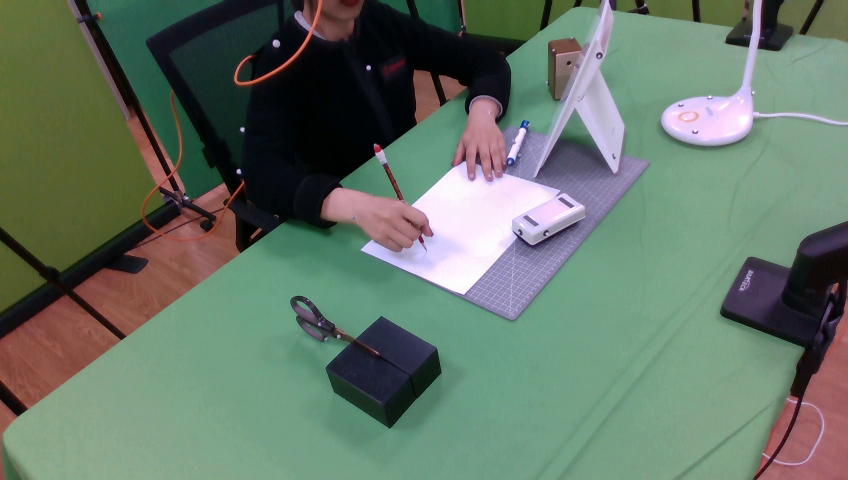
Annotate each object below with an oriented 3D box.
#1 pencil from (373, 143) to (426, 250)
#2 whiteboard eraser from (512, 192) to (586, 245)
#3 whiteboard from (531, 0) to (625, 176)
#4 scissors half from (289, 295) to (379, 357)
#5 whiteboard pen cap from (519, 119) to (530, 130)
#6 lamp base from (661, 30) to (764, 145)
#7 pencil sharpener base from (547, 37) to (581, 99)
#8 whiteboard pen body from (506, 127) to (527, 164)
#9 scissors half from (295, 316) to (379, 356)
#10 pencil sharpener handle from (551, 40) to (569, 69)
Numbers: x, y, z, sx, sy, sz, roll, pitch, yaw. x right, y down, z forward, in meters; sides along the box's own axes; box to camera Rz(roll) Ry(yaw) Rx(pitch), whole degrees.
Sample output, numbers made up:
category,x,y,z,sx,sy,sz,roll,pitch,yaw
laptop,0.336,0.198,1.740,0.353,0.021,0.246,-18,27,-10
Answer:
category,x,y,z,sx,sy,sz,roll,pitch,yaw
pencil,-0.034,-0.062,0.927,0.012,0.195,0.012,-19,28,11
whiteboard eraser,0.199,-0.032,0.962,0.113,0.042,0.055,-27,42,-20
whiteboard,0.320,-0.258,1.050,0.144,0.306,0.217,22,45,5
scissors half,-0.122,0.114,0.803,0.174,0.040,0.013,26,50,32
whiteboard pen cap,0.199,-0.226,1.204,0.018,0.018,0.033,7,41,18
lamp base,0.535,-0.287,1.096,0.179,0.181,0.159,-10,40,-4
pencil sharpener base,0.299,-0.368,1.290,0.061,0.107,0.076,-8,40,3
whiteboard pen body,0.181,-0.189,1.162,0.017,0.017,0.140,8,42,19
scissors half,-0.119,0.132,0.813,0.174,0.040,0.013,9,34,45
pencil sharpener handle,0.291,-0.409,1.321,0.036,0.068,0.030,2,40,-6
